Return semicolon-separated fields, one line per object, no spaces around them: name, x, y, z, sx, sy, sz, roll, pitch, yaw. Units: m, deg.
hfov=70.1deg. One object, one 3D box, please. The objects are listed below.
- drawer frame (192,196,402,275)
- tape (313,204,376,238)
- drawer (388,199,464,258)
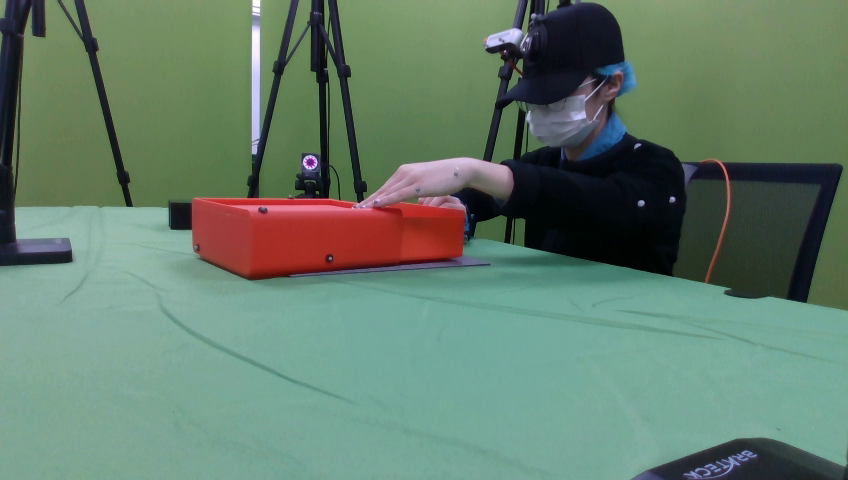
drawer frame;-0.171;-0.014;0.813;0.215;0.082;0.200;-4;10;-39
tape;-0.145;-0.036;1.117;0.117;0.052;0.117;3;8;0
drawer;-0.081;-0.018;0.883;0.213;0.073;0.193;-4;10;-38
